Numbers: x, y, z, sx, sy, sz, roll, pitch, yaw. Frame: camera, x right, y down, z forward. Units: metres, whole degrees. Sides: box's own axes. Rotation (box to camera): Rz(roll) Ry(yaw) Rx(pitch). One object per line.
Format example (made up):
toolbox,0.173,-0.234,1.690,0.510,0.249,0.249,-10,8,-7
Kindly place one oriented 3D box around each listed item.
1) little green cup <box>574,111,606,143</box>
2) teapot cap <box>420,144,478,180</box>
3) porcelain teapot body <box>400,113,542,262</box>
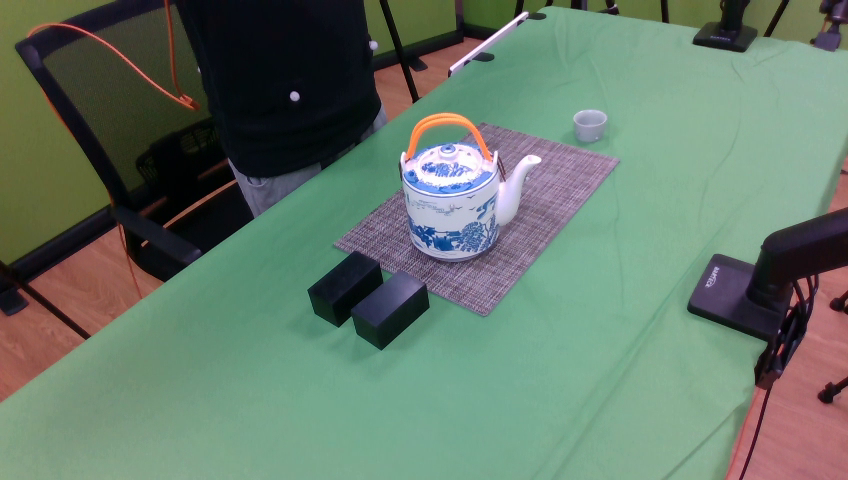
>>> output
little green cup,0.318,-0.217,1.164,0.061,0.039,0.061,-3,40,3
teapot cap,0.036,-0.114,0.874,0.085,0.044,0.085,-2,43,2
porcelain teapot body,0.069,-0.086,0.897,0.205,0.226,0.144,-1,41,7
